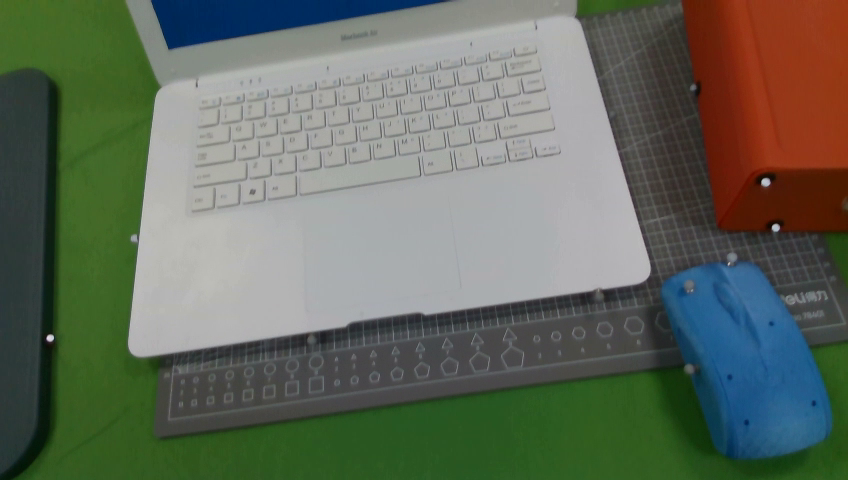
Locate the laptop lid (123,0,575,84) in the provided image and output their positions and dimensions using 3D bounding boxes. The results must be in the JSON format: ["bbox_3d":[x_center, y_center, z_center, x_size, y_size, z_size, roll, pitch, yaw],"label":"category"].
[{"bbox_3d":[-0.069,-0.250,0.442,0.356,0.244,0.013,-10,33,4],"label":"laptop lid"}]

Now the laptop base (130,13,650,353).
[{"bbox_3d":[-0.038,-0.051,0.453,0.354,0.023,0.233,-9,66,3],"label":"laptop base"}]

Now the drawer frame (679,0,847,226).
[{"bbox_3d":[0.292,-0.116,0.404,0.201,0.083,0.212,-1,63,7],"label":"drawer frame"}]

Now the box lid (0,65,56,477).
[{"bbox_3d":[-0.416,0.029,0.469,0.263,0.015,0.368,-17,62,-1],"label":"box lid"}]

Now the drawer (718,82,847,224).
[{"bbox_3d":[0.291,-0.114,0.404,0.194,0.074,0.210,0,63,7],"label":"drawer"}]

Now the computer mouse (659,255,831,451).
[{"bbox_3d":[0.185,0.061,0.354,0.063,0.041,0.116,-12,61,4],"label":"computer mouse"}]
